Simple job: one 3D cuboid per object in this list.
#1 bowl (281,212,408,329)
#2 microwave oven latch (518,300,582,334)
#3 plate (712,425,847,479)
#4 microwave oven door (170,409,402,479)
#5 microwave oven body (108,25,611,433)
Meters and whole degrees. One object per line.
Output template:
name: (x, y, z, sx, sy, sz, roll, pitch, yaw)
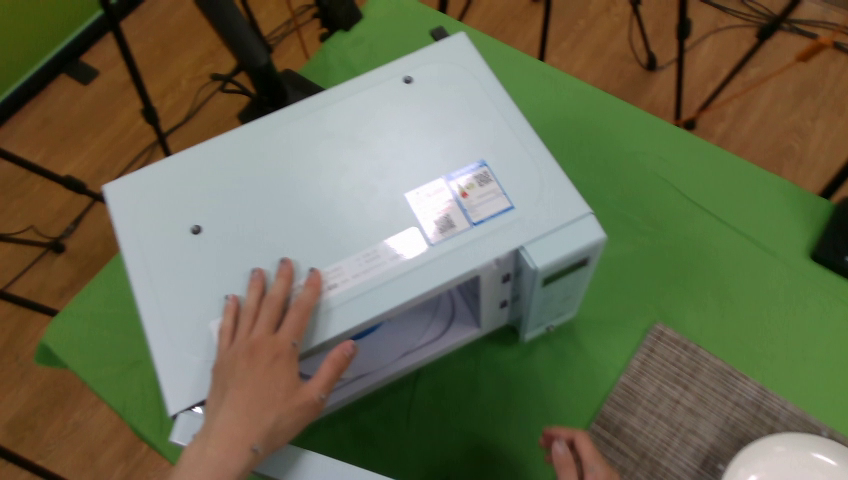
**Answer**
bowl: (-0.091, 0.049, 0.744, 0.151, 0.077, 0.150, -2, 60, 4)
microwave oven latch: (0.160, 0.090, 0.772, 0.079, 0.030, 0.030, -24, 65, -6)
plate: (0.415, 0.311, 0.660, 0.207, 0.039, 0.206, -2, 65, 4)
microwave oven door: (-0.041, 0.247, 0.600, 0.355, 0.246, 0.039, 14, 67, 11)
microwave oven body: (-0.072, 0.005, 0.724, 0.442, 0.262, 0.323, -25, 66, -6)
